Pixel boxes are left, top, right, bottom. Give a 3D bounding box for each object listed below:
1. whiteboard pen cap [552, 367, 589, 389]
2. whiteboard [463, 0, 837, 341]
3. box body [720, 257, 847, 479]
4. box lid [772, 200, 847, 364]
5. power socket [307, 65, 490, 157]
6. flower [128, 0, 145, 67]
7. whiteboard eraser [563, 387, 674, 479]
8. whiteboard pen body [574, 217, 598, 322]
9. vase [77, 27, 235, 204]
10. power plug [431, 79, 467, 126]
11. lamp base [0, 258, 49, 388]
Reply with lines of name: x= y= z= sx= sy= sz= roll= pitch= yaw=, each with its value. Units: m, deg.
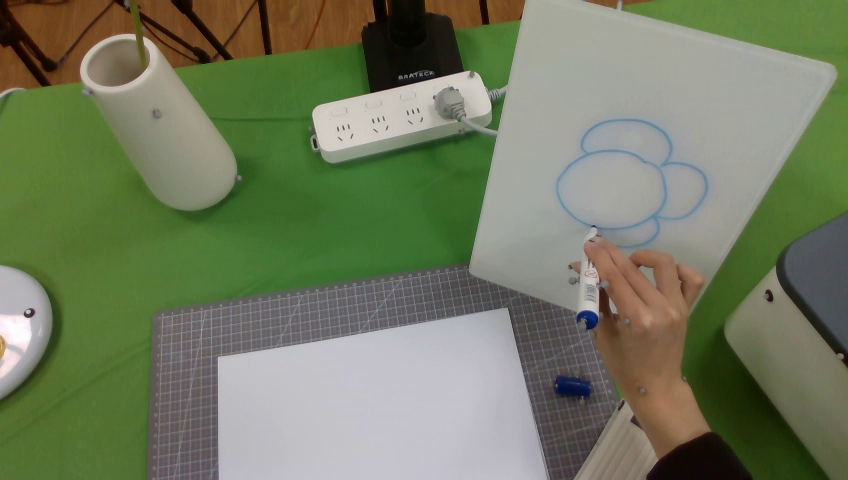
whiteboard pen cap: x=0.141 y=0.134 z=0.585 sx=0.033 sy=0.018 sz=0.018 roll=9 pitch=64 yaw=3
whiteboard: x=0.183 y=-0.084 z=0.566 sx=0.216 sy=0.308 sz=0.143 roll=20 pitch=45 yaw=12
box body: x=0.467 y=0.130 z=0.501 sx=0.254 sy=0.161 sz=0.361 roll=-26 pitch=66 yaw=-11
box lid: x=0.464 y=0.095 z=0.434 sx=0.263 sy=0.015 sz=0.368 roll=-26 pitch=67 yaw=-10
power socket: x=-0.029 y=-0.155 z=0.722 sx=0.227 sy=0.033 sz=0.071 roll=-14 pitch=66 yaw=-6
flower: x=-0.250 y=-0.150 z=0.543 sx=0.038 sy=0.362 sz=0.044 roll=39 pitch=61 yaw=0
whiteboard eraser: x=0.172 y=0.192 z=0.543 sx=0.055 sy=0.042 sz=0.112 roll=33 pitch=70 yaw=17
whiteboard pen body: x=0.132 y=0.017 z=0.490 sx=0.017 sy=0.017 sz=0.140 roll=13 pitch=36 yaw=9
vase: x=-0.268 y=-0.119 z=0.619 sx=0.098 sy=0.201 sz=0.097 roll=-1 pitch=64 yaw=3
power plug: x=0.027 y=-0.151 z=0.694 sx=0.035 sy=0.053 sz=0.072 roll=-4 pitch=70 yaw=-1
lamp base: x=-0.480 y=0.052 z=0.553 sx=0.178 sy=0.182 sz=0.160 roll=21 pitch=66 yaw=15
